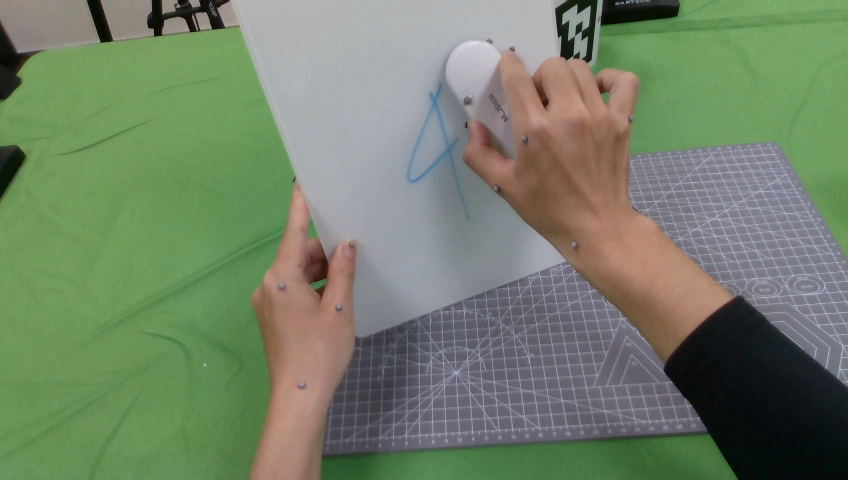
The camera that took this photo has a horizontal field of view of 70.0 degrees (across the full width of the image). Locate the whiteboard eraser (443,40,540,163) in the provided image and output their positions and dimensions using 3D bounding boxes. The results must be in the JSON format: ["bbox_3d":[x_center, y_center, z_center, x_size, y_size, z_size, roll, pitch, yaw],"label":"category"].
[{"bbox_3d":[0.051,-0.101,0.448,0.041,0.102,0.018,-40,29,-1],"label":"whiteboard eraser"}]

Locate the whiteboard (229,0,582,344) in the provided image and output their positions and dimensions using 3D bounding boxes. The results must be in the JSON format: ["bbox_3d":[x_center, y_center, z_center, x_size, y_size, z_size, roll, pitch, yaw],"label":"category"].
[{"bbox_3d":[-0.010,-0.105,0.513,0.217,0.308,0.142,-20,30,-8],"label":"whiteboard"}]
